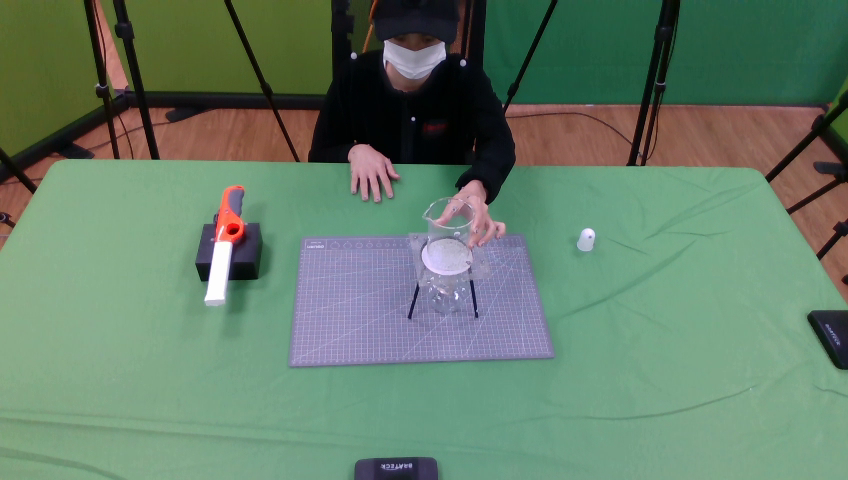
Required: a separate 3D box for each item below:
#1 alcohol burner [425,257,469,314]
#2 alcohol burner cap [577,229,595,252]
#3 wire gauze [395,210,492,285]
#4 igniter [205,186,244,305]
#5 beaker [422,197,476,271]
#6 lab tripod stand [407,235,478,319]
[{"bbox_3d":[0.041,0.074,1.063,0.078,0.120,0.077,1,46,0],"label":"alcohol burner"},{"bbox_3d":[0.326,-0.002,1.213,0.034,0.048,0.033,1,47,-1],"label":"alcohol burner cap"},{"bbox_3d":[0.031,0.011,0.996,0.125,0.011,0.120,-23,53,-19],"label":"wire gauze"},{"bbox_3d":[-0.361,0.001,1.100,0.057,0.025,0.274,-2,49,-6],"label":"igniter"},{"bbox_3d":[0.037,-0.007,0.968,0.084,0.101,0.073,-3,43,-6],"label":"beaker"},{"bbox_3d":[0.032,0.065,1.057,0.148,0.132,0.147,1,45,-1],"label":"lab tripod stand"}]
